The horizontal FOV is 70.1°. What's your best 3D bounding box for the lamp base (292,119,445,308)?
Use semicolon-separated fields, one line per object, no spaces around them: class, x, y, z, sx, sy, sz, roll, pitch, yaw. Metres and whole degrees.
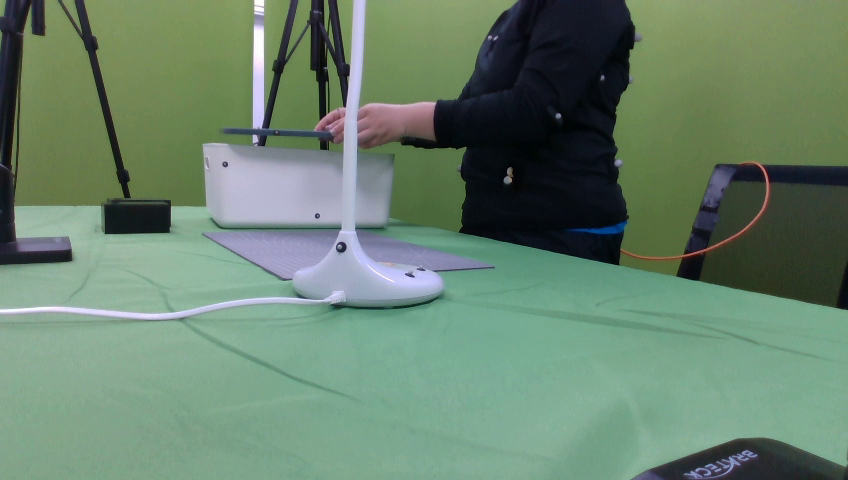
lamp base;-0.056;-0.030;0.616;0.160;0.180;0.179;4;10;8

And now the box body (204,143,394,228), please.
box body;-0.271;-0.117;1.291;0.366;0.160;0.253;-1;8;-25

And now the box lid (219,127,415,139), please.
box lid;-0.229;-0.220;1.251;0.373;0.015;0.262;-2;11;-21

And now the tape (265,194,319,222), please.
tape;-0.284;-0.069;1.298;0.117;0.052;0.117;3;7;0
